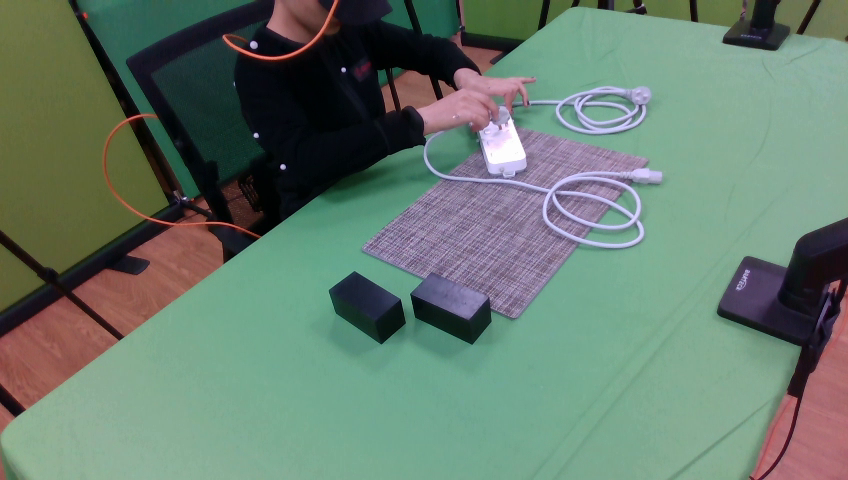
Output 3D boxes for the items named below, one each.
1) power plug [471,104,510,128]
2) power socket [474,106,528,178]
[{"bbox_3d":[0.129,-0.233,1.157,0.072,0.053,0.035,-13,46,13],"label":"power plug"},{"bbox_3d":[0.146,-0.197,1.173,0.072,0.033,0.225,-8,40,1],"label":"power socket"}]
